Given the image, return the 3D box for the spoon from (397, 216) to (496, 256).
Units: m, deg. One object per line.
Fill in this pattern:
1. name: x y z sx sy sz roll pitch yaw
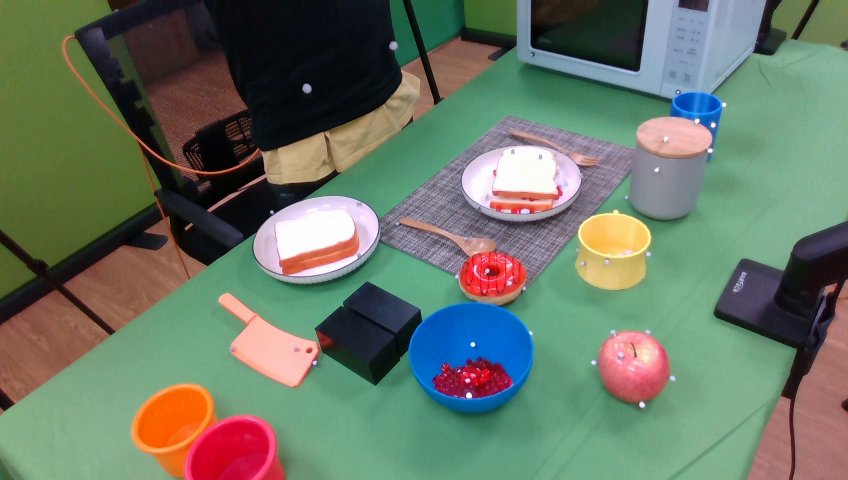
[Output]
1. spoon: 0.032 -0.011 0.972 0.192 0.022 0.041 22 73 29

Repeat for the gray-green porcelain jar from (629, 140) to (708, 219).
1. gray-green porcelain jar: 0.383 -0.104 0.958 0.106 0.127 0.105 -4 41 4

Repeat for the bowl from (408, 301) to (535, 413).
1. bowl: 0.060 0.156 0.739 0.151 0.077 0.150 -4 40 4

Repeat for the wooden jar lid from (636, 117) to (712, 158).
1. wooden jar lid: 0.377 -0.151 0.917 0.108 0.021 0.108 -2 41 3

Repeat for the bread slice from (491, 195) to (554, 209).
1. bread slice: 0.173 -0.098 1.048 0.104 0.019 0.131 2 44 12

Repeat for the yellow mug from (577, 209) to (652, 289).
1. yellow mug: 0.279 0.004 0.893 0.099 0.064 0.130 5 41 15

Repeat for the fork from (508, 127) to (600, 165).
1. fork: 0.240 -0.180 1.142 0.205 0.019 0.028 32 64 34

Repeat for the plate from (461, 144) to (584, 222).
1. plate: 0.168 -0.095 1.040 0.207 0.039 0.206 -4 40 4

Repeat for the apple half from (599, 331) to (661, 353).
1. apple half: 0.249 0.134 0.738 0.081 0.081 0.032 -1 46 7

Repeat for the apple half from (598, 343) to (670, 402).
1. apple half: 0.247 0.161 0.710 0.081 0.075 0.053 2 47 5

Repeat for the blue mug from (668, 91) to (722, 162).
1. blue mug: 0.474 -0.207 1.078 0.082 0.106 0.116 4 42 13

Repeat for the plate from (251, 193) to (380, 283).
1. plate: -0.173 -0.001 0.984 0.209 0.038 0.208 -4 41 4

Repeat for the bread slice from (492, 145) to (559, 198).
1. bread slice: 0.172 -0.118 1.028 0.107 0.018 0.134 3 44 7

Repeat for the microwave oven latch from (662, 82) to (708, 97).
1. microwave oven latch: 0.518 -0.298 1.203 0.078 0.029 0.030 28 52 35

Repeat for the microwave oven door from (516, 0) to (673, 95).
1. microwave oven door: 0.344 -0.458 1.256 0.353 0.245 0.039 26 51 33

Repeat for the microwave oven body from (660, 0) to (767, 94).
1. microwave oven body: 0.473 -0.516 1.314 0.438 0.261 0.327 26 51 34

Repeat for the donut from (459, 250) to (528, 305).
1. donut: 0.100 0.053 0.872 0.099 0.048 0.098 -5 40 4

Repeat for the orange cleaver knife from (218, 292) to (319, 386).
1. orange cleaver knife: -0.235 0.136 0.850 0.209 0.012 0.077 25 56 30
